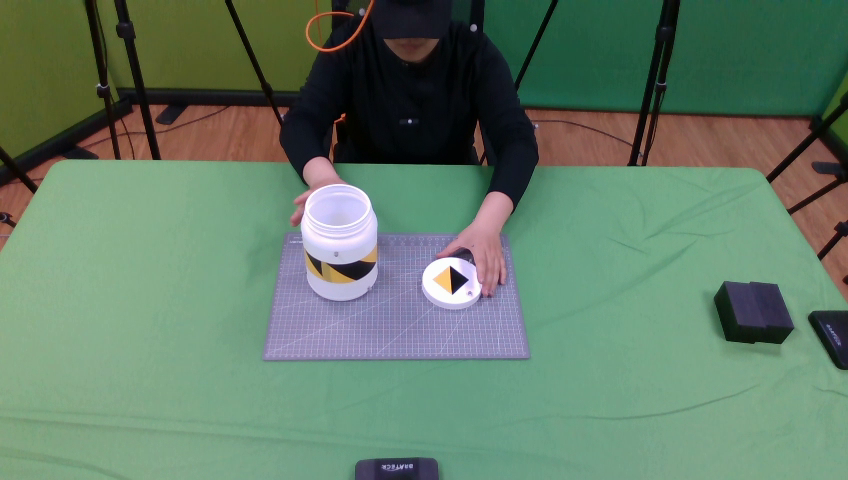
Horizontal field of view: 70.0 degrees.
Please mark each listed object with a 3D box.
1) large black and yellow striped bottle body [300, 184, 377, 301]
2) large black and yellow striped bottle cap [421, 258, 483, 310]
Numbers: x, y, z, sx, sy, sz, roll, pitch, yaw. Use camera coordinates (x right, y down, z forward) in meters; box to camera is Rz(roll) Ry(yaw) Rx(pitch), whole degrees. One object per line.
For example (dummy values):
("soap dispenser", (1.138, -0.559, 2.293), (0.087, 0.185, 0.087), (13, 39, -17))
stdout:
("large black and yellow striped bottle body", (-0.148, 0.004, 1.067), (0.131, 0.185, 0.130), (2, 46, -2))
("large black and yellow striped bottle cap", (0.053, 0.081, 1.126), (0.115, 0.019, 0.114), (2, 45, -1))
